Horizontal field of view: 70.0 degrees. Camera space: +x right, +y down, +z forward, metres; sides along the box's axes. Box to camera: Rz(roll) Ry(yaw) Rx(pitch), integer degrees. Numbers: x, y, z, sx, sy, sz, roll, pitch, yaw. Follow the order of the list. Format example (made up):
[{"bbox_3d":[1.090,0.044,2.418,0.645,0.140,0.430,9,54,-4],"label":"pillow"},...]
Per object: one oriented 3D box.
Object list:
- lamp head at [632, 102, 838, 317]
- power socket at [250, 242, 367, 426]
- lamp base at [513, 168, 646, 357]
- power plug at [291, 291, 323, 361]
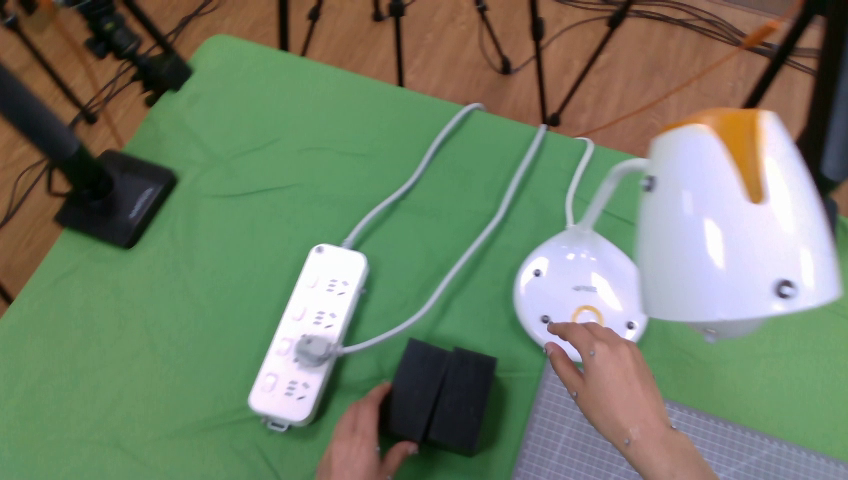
[{"bbox_3d":[0.179,-0.022,0.373,0.112,0.112,0.122,-10,87,-5],"label":"lamp head"},{"bbox_3d":[-0.130,0.102,0.706,0.072,0.033,0.225,15,64,6],"label":"power socket"},{"bbox_3d":[0.183,0.017,0.665,0.161,0.181,0.177,-8,61,-3],"label":"lamp base"},{"bbox_3d":[-0.130,0.100,0.682,0.035,0.053,0.072,6,57,-14],"label":"power plug"}]
